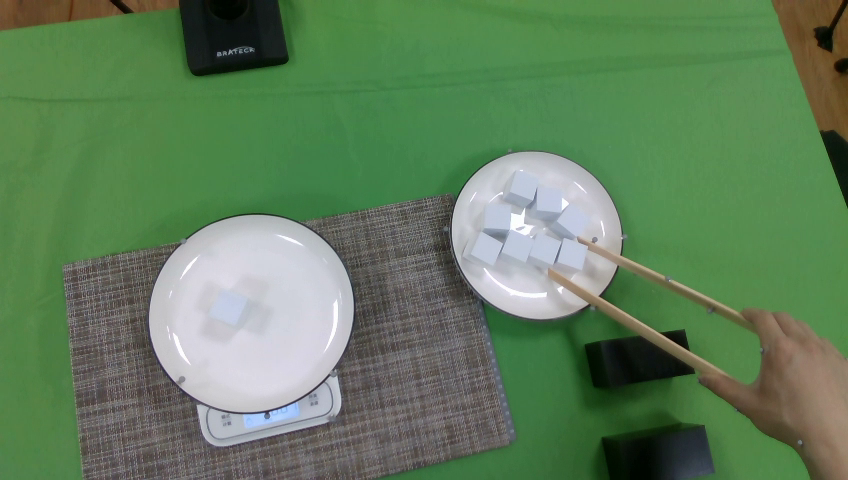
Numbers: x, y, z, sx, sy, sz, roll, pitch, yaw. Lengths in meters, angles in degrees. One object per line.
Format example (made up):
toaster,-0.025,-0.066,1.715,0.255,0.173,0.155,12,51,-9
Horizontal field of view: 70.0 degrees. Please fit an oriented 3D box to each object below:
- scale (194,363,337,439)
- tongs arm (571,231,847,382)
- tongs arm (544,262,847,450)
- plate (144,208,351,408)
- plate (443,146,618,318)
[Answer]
scale,-0.183,0.105,0.664,0.149,0.031,0.200,-11,79,-8
tongs arm,0.301,0.088,0.610,0.381,0.027,0.050,29,70,35
tongs arm,0.278,0.111,0.603,0.383,0.028,0.028,31,68,35
plate,-0.181,0.069,0.638,0.209,0.038,0.208,2,77,-6
plate,0.124,-0.009,0.723,0.208,0.039,0.206,1,77,-6
